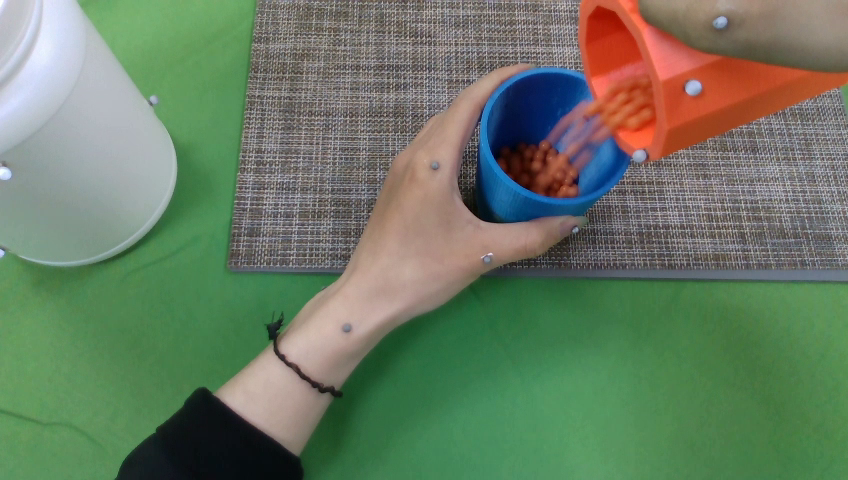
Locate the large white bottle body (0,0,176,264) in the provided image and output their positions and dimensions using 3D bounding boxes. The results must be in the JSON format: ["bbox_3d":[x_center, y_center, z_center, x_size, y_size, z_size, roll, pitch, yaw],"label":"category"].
[{"bbox_3d":[-0.233,-0.073,0.335,0.131,0.185,0.129,1,70,-2],"label":"large white bottle body"}]

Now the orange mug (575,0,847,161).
[{"bbox_3d":[0.130,-0.102,0.271,0.101,0.127,0.082,-24,62,4],"label":"orange mug"}]

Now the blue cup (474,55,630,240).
[{"bbox_3d":[0.069,-0.044,0.375,0.093,0.101,0.092,1,71,-3],"label":"blue cup"}]

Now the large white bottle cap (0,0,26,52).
[{"bbox_3d":[-0.232,-0.104,0.256,0.115,0.018,0.114,1,70,-2],"label":"large white bottle cap"}]
